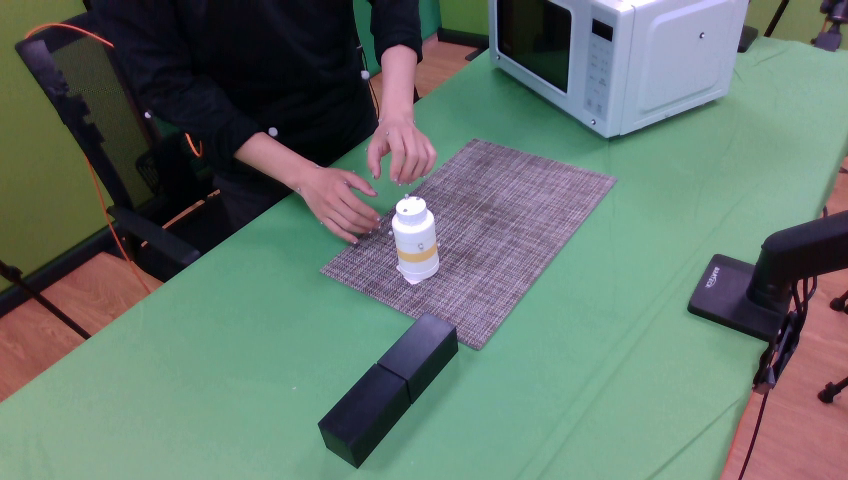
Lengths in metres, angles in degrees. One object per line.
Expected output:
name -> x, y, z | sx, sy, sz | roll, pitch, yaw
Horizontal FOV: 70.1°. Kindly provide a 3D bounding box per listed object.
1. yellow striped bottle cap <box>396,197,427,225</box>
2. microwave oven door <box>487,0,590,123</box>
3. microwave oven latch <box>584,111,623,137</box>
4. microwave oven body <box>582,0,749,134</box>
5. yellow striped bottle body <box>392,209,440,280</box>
yellow striped bottle cap -> -0.018, -0.042, 0.858 | 0.044, 0.019, 0.044 | -4, 39, 4
microwave oven door -> 0.231, -0.420, 1.230 | 0.039, 0.245, 0.352 | -22, 43, -16
microwave oven latch -> 0.337, -0.222, 1.142 | 0.030, 0.029, 0.078 | -21, 42, -14
microwave oven body -> 0.382, -0.444, 1.246 | 0.327, 0.261, 0.437 | -22, 42, -16
yellow striped bottle body -> -0.012, -0.003, 0.892 | 0.063, 0.121, 0.062 | -4, 41, 4
